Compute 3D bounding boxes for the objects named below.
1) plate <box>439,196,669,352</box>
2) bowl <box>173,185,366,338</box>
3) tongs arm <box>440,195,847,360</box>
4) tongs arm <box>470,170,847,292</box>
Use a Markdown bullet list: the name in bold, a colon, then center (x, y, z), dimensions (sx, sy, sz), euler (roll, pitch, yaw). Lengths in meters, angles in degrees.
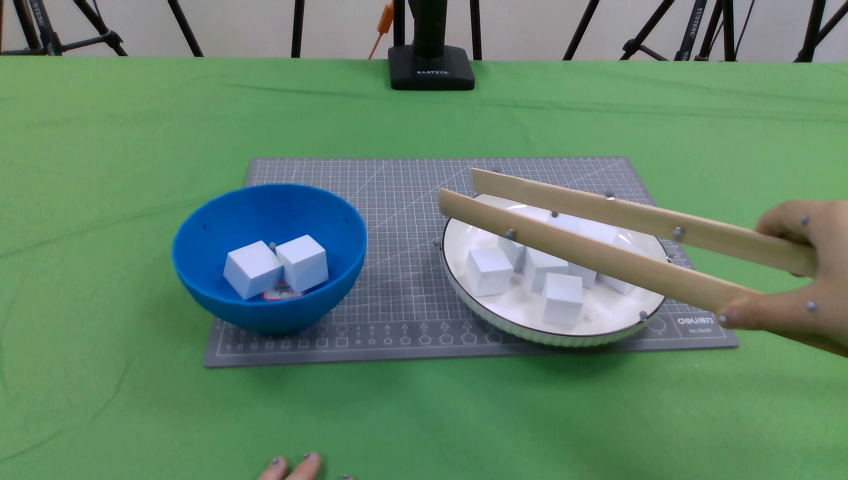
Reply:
- **plate**: center (0.116, 0.026, 0.561), dimensions (0.208, 0.039, 0.205), euler (3, 40, -2)
- **bowl**: center (-0.123, 0.029, 0.506), dimensions (0.151, 0.077, 0.150), euler (3, 40, -2)
- **tongs arm**: center (0.170, 0.027, 0.376), dimensions (0.384, 0.028, 0.028), euler (19, 40, 31)
- **tongs arm**: center (0.187, 0.011, 0.393), dimensions (0.382, 0.027, 0.050), euler (16, 43, 29)
